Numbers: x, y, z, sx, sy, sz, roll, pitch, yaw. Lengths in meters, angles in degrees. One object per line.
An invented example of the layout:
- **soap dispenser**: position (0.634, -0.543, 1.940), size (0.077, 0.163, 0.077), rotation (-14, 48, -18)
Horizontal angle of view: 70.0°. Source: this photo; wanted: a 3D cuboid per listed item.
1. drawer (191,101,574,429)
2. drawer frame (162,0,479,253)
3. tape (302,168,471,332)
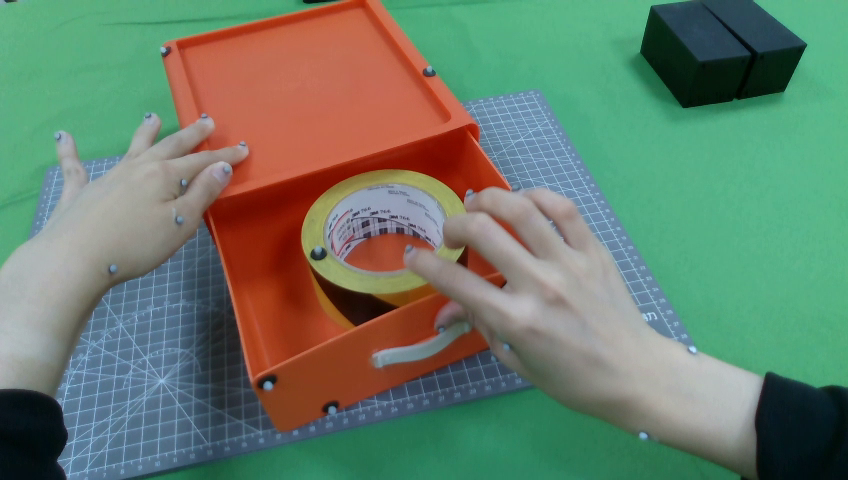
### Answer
- **drawer**: position (-0.038, -0.006, 0.417), size (0.195, 0.074, 0.209), rotation (-20, 51, -13)
- **drawer frame**: position (-0.091, -0.098, 0.498), size (0.202, 0.083, 0.211), rotation (-20, 50, -14)
- **tape**: position (-0.025, 0.007, 0.415), size (0.117, 0.053, 0.115), rotation (0, 49, 1)
